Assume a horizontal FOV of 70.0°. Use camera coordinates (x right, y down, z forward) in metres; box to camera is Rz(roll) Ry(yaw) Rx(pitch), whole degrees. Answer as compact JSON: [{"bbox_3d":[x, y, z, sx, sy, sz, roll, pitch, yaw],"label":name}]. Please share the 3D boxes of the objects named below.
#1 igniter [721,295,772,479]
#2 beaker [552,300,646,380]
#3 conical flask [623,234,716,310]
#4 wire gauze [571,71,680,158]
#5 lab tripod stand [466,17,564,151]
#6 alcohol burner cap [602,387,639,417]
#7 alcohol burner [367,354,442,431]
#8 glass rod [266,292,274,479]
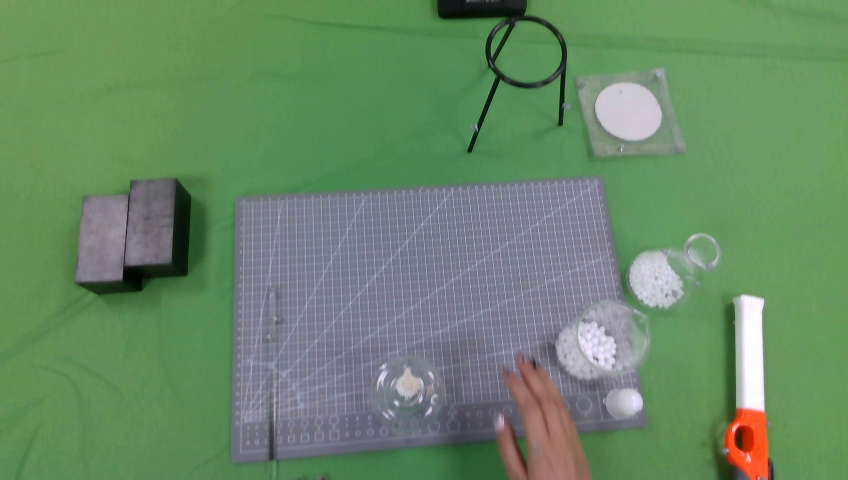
[{"bbox_3d":[0.354,0.196,0.667,0.057,0.025,0.275,12,72,-10],"label":"igniter"},{"bbox_3d":[0.184,0.109,0.645,0.084,0.101,0.073,-27,75,-11],"label":"beaker"},{"bbox_3d":[0.274,0.029,0.666,0.075,0.122,0.075,1,72,-2],"label":"conical flask"},{"bbox_3d":[0.263,-0.163,0.787,0.125,0.011,0.120,-5,73,-6],"label":"wire gauze"},{"bbox_3d":[0.105,-0.181,0.719,0.148,0.132,0.147,1,74,-3],"label":"lab tripod stand"},{"bbox_3d":[0.216,0.174,0.656,0.034,0.048,0.033,1,72,-3],"label":"alcohol burner cap"},{"bbox_3d":[-0.020,0.152,0.613,0.078,0.120,0.077,0,71,0],"label":"alcohol burner"},{"bbox_3d":[-0.168,0.154,0.660,0.008,0.008,0.198,-2,75,-4],"label":"glass rod"}]
